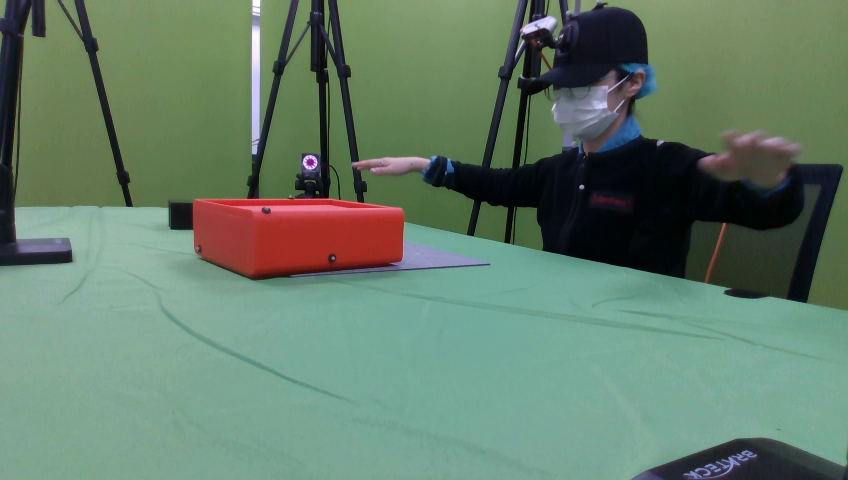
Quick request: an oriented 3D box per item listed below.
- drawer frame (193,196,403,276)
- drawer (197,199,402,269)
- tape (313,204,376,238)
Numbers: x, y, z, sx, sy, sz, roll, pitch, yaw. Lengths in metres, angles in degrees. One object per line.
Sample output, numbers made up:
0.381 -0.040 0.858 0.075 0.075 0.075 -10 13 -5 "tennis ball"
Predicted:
-0.170 -0.014 0.814 0.215 0.082 0.200 -5 10 -40 "drawer frame"
-0.169 -0.014 0.817 0.213 0.073 0.193 -4 10 -39 "drawer"
-0.145 -0.036 1.117 0.117 0.052 0.117 3 8 0 "tape"
